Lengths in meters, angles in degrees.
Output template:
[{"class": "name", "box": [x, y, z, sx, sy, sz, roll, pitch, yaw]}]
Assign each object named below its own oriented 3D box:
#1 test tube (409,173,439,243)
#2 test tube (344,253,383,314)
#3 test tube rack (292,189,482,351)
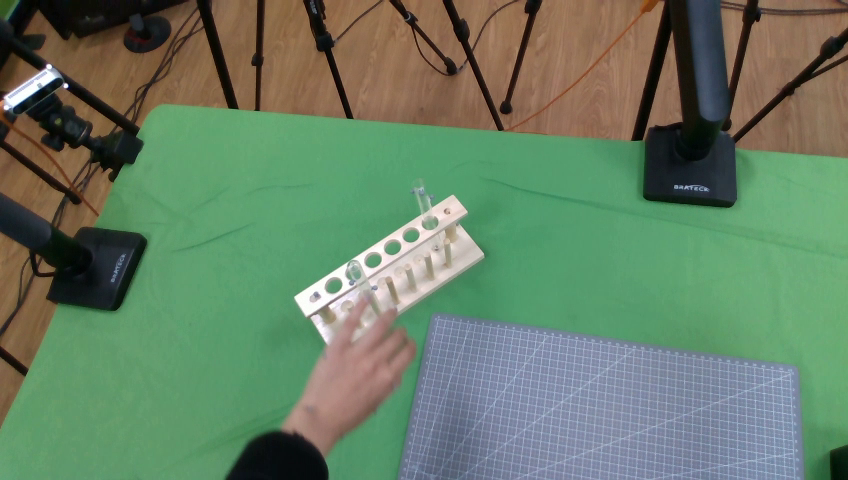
[{"class": "test tube", "box": [0.002, -0.037, 0.769, 0.017, 0.151, 0.017, -4, 60, 8]}, {"class": "test tube", "box": [-0.072, 0.056, 0.740, 0.017, 0.152, 0.017, -4, 60, 8]}, {"class": "test tube rack", "box": [-0.042, 0.040, 0.793, 0.242, 0.086, 0.066, -33, 64, -9]}]
